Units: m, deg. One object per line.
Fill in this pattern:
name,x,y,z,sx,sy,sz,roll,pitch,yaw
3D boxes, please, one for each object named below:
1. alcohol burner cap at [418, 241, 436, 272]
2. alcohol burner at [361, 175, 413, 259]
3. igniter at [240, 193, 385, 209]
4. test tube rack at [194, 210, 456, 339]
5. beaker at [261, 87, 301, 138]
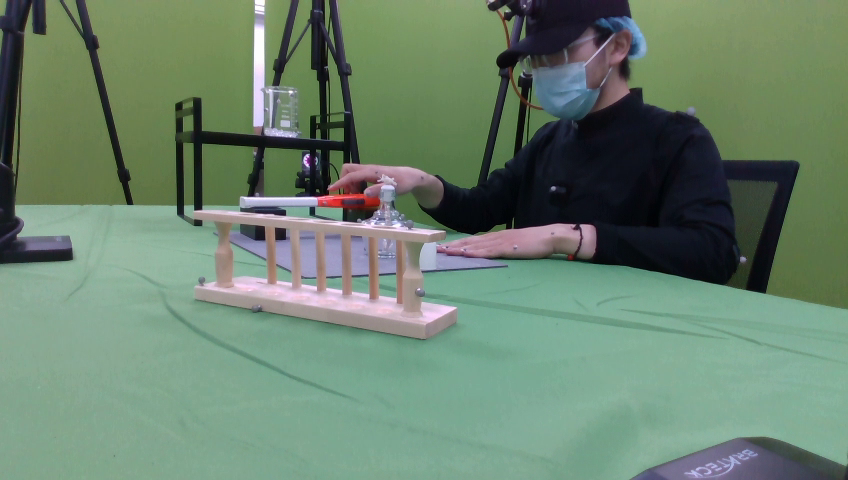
alcohol burner cap,0.000,0.015,0.787,0.034,0.048,0.034,4,7,0
alcohol burner,-0.054,-0.033,0.870,0.078,0.119,0.078,1,9,0
igniter,-0.187,-0.070,1.077,0.278,0.025,0.057,-5,11,-35
test tube rack,-0.093,0.023,0.546,0.241,0.085,0.067,6,8,25
beaker,-0.298,-0.263,1.255,0.084,0.100,0.073,-5,10,-40
